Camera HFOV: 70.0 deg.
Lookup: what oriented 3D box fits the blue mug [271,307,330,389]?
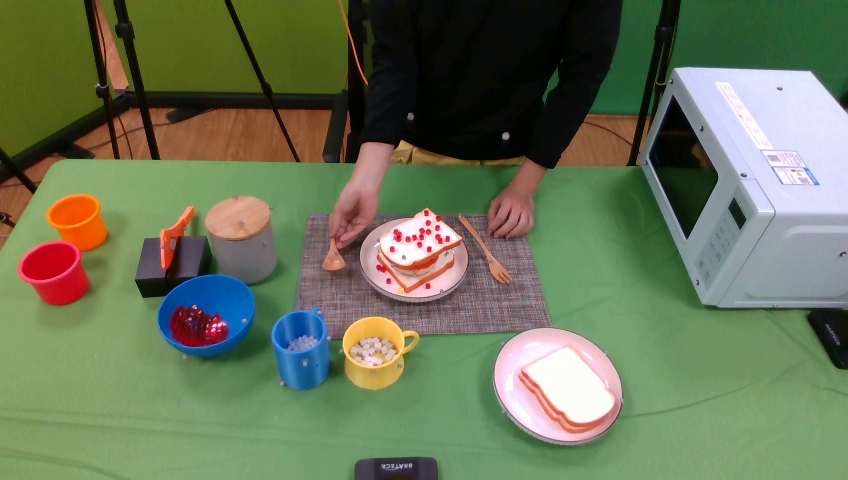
[{"bbox_3d":[-0.188,0.163,0.969,0.082,0.106,0.116,15,47,10],"label":"blue mug"}]

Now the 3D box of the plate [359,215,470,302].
[{"bbox_3d":[-0.018,0.038,1.140,0.209,0.038,0.208,2,46,-2],"label":"plate"}]

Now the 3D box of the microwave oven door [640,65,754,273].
[{"bbox_3d":[0.523,-0.147,1.193,0.039,0.245,0.353,0,47,-3],"label":"microwave oven door"}]

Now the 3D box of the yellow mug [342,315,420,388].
[{"bbox_3d":[-0.068,0.177,0.990,0.131,0.064,0.099,-15,50,-19],"label":"yellow mug"}]

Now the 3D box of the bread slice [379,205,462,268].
[{"bbox_3d":[-0.012,-0.001,1.097,0.134,0.018,0.106,-33,51,-23],"label":"bread slice"}]

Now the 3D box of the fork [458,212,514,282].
[{"bbox_3d":[0.116,0.011,1.188,0.028,0.019,0.206,-21,53,-14],"label":"fork"}]

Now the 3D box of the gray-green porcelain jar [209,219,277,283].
[{"bbox_3d":[-0.323,0.007,1.092,0.106,0.127,0.105,2,46,-2],"label":"gray-green porcelain jar"}]

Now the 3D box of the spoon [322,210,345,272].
[{"bbox_3d":[-0.175,-0.002,1.165,0.041,0.022,0.192,-9,42,-1],"label":"spoon"}]

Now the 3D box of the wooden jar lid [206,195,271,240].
[{"bbox_3d":[-0.319,-0.036,1.046,0.108,0.021,0.107,1,44,0],"label":"wooden jar lid"}]

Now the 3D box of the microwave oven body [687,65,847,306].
[{"bbox_3d":[0.669,-0.111,1.176,0.326,0.261,0.439,0,46,-3],"label":"microwave oven body"}]

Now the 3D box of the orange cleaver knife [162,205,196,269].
[{"bbox_3d":[-0.454,-0.010,1.129,0.012,0.077,0.210,-1,20,-5],"label":"orange cleaver knife"}]

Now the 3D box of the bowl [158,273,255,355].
[{"bbox_3d":[-0.351,0.136,1.001,0.151,0.077,0.150,2,46,-2],"label":"bowl"}]

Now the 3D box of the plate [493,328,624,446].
[{"bbox_3d":[0.213,0.236,0.974,0.208,0.039,0.206,2,46,-2],"label":"plate"}]

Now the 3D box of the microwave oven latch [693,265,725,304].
[{"bbox_3d":[0.523,0.081,1.115,0.030,0.029,0.078,2,46,-1],"label":"microwave oven latch"}]

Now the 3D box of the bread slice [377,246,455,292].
[{"bbox_3d":[-0.010,0.033,1.150,0.131,0.019,0.104,-27,56,-24],"label":"bread slice"}]
